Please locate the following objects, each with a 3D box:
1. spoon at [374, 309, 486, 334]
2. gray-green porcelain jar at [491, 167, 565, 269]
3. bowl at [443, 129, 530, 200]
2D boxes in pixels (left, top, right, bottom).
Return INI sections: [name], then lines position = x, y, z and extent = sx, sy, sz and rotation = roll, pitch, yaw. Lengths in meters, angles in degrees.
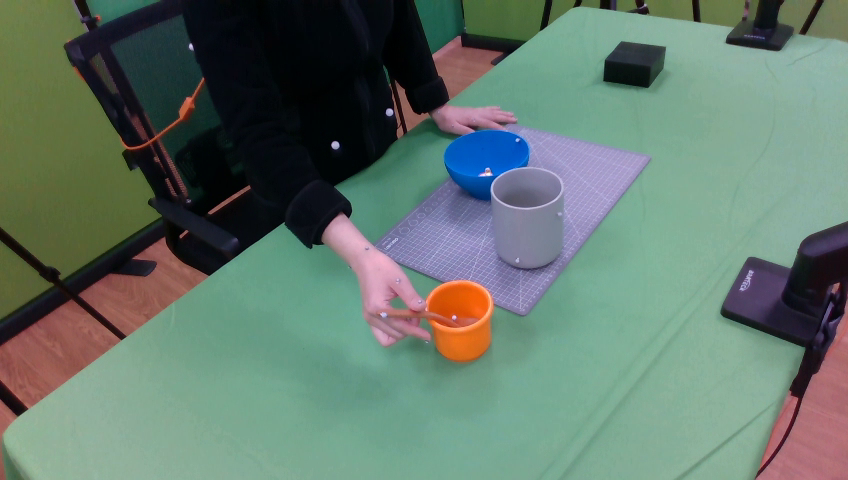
[spoon]
position = 0.011, 0.100, 0.768
extent = 0.041, 0.195, 0.021
rotation = 30, 98, 46
[gray-green porcelain jar]
position = 0.157, -0.029, 0.904
extent = 0.106, 0.127, 0.105
rotation = -6, 40, 5
[bowl]
position = 0.113, -0.123, 1.063
extent = 0.151, 0.077, 0.150
rotation = -6, 40, 5
